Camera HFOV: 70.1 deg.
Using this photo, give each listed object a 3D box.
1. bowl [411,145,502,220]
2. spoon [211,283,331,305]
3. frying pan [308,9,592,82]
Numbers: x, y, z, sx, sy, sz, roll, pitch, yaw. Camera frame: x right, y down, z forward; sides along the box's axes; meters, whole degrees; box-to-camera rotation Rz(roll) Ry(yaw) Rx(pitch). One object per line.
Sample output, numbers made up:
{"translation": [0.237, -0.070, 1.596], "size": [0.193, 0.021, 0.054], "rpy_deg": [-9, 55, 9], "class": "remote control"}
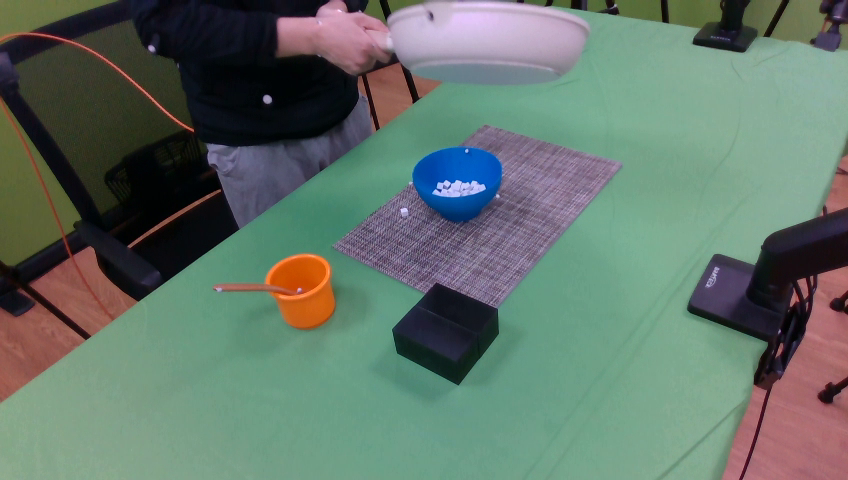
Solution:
{"translation": [0.057, -0.086, 1.010], "size": [0.151, 0.077, 0.150], "rpy_deg": [-4, 41, 4], "class": "bowl"}
{"translation": [-0.201, 0.069, 0.819], "size": [0.041, 0.195, 0.021], "rpy_deg": [32, 99, 37], "class": "spoon"}
{"translation": [0.010, -0.306, 0.944], "size": [0.484, 0.103, 0.309], "rpy_deg": [17, 15, 29], "class": "frying pan"}
